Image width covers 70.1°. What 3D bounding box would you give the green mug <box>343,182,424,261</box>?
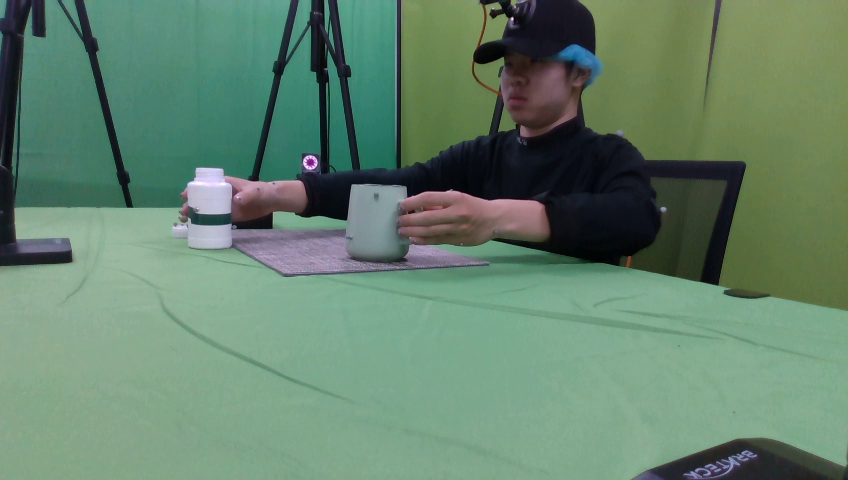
[{"bbox_3d":[-0.053,-0.026,0.849,0.125,0.105,0.093,7,9,33],"label":"green mug"}]

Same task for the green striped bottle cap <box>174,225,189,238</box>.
[{"bbox_3d":[-0.405,-0.015,1.036,0.044,0.020,0.044,-2,8,1],"label":"green striped bottle cap"}]

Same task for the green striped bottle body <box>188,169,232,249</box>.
[{"bbox_3d":[-0.325,-0.049,0.918,0.063,0.119,0.063,3,8,0],"label":"green striped bottle body"}]

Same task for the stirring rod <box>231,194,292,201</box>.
[{"bbox_3d":[-0.353,-0.086,1.216,0.177,0.014,0.006,-2,12,-27],"label":"stirring rod"}]
